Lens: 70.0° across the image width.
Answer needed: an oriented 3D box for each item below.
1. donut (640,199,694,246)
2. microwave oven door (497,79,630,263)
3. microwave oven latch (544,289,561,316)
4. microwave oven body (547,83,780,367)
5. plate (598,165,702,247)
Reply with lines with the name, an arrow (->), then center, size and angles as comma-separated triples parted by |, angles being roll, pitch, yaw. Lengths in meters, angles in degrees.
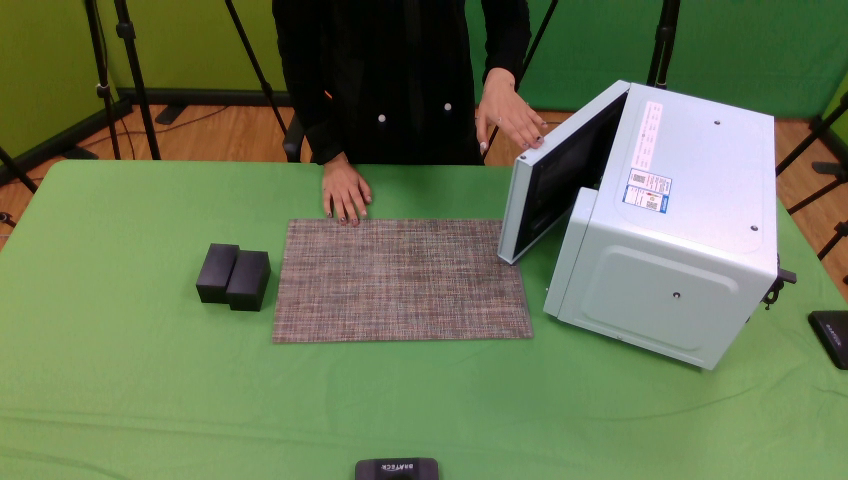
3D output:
donut -> 0.464, -0.034, 1.159 | 0.099, 0.048, 0.098 | -2, 60, 4
microwave oven door -> 0.275, -0.139, 1.175 | 0.039, 0.245, 0.355 | 34, 53, 25
microwave oven latch -> 0.237, 0.098, 1.087 | 0.030, 0.029, 0.079 | 17, 47, 13
microwave oven body -> 0.445, -0.041, 1.101 | 0.325, 0.261, 0.440 | 17, 47, 13
plate -> 0.432, -0.062, 1.173 | 0.209, 0.038, 0.208 | 9, 48, -10
